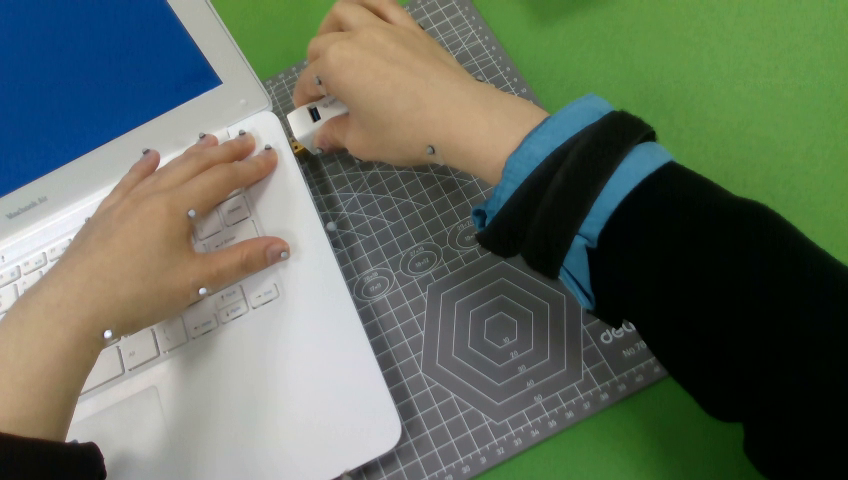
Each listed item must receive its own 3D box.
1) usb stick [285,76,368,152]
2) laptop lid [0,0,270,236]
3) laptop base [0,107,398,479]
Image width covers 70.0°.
[{"bbox_3d":[-0.067,-0.075,0.380,0.059,0.027,0.021,-30,64,11],"label":"usb stick"},{"bbox_3d":[-0.299,-0.093,0.337,0.357,0.244,0.013,-27,41,3],"label":"laptop lid"},{"bbox_3d":[-0.211,0.083,0.369,0.354,0.023,0.233,-26,69,2],"label":"laptop base"}]
